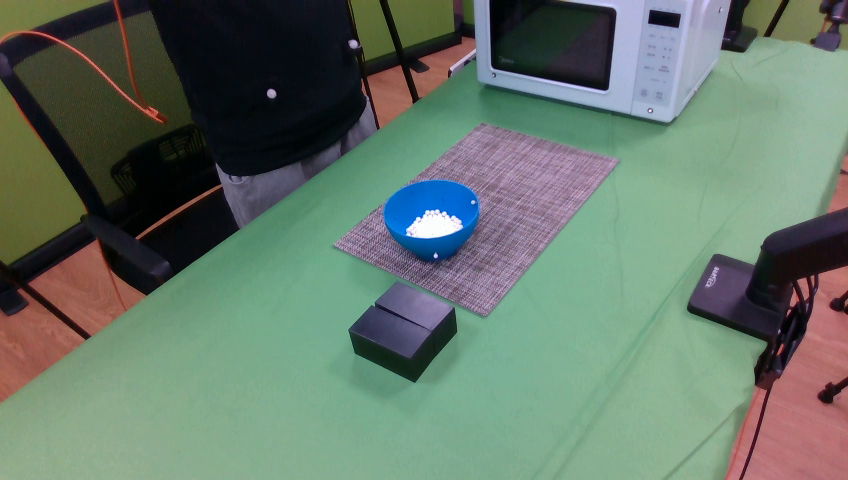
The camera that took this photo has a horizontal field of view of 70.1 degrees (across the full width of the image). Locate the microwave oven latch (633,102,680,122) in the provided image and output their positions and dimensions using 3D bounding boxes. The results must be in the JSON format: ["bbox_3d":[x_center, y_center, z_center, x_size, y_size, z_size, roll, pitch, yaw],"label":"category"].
[{"bbox_3d":[0.443,-0.249,1.157,0.078,0.029,0.030,21,49,30],"label":"microwave oven latch"}]

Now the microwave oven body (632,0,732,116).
[{"bbox_3d":[0.377,-0.462,1.267,0.438,0.261,0.327,21,48,30],"label":"microwave oven body"}]

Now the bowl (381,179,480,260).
[{"bbox_3d":[0.014,-0.021,0.942,0.151,0.077,0.150,-4,40,4],"label":"bowl"}]

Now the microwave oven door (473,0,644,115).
[{"bbox_3d":[0.257,-0.396,1.199,0.353,0.245,0.039,21,48,29],"label":"microwave oven door"}]
